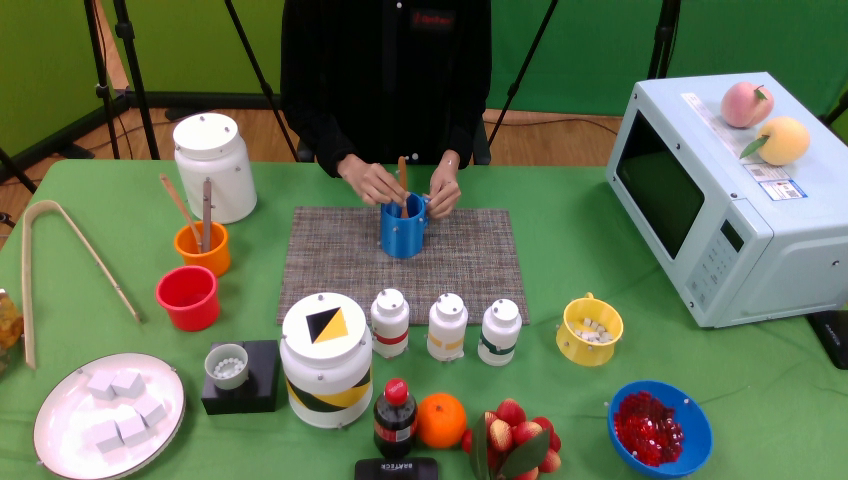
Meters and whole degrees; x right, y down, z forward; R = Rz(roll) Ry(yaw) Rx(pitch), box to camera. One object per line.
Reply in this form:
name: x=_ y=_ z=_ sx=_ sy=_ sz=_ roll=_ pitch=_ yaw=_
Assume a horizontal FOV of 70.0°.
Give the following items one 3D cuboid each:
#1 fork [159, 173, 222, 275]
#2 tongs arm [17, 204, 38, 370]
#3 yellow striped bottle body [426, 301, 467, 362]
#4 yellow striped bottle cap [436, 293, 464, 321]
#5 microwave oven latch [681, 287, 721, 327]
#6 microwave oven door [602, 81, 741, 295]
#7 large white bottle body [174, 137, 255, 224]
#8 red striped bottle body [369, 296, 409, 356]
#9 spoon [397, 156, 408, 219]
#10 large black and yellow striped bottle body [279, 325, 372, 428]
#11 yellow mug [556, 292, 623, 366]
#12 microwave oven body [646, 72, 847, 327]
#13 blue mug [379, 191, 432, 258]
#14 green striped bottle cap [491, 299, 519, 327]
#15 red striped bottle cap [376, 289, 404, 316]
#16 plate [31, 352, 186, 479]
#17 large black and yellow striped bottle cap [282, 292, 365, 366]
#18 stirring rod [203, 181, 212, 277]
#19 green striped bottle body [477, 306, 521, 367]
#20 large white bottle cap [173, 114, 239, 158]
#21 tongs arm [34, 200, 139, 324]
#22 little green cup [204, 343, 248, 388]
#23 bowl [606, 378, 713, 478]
fork: x=-0.427 y=-0.029 z=1.103 sx=0.028 sy=0.018 sz=0.207 roll=-31 pitch=99 yaw=-30
tongs arm: x=-0.698 y=0.069 z=1.068 sx=0.028 sy=0.028 sz=0.385 roll=-20 pitch=50 yaw=-13
yellow striped bottle body: x=0.037 y=0.142 z=0.996 sx=0.063 sy=0.121 sz=0.062 roll=3 pitch=46 yaw=-2
yellow striped bottle cap: x=0.041 y=0.106 z=0.959 sx=0.044 sy=0.019 sz=0.044 roll=-1 pitch=49 yaw=1
microwave oven latch: x=0.494 y=0.119 z=1.087 sx=0.030 sy=0.029 sz=0.078 roll=-6 pitch=46 yaw=-9
microwave oven door: x=0.456 y=-0.107 z=1.162 sx=0.039 sy=0.245 sz=0.353 roll=-7 pitch=47 yaw=-11
large white bottle body: x=-0.408 y=-0.136 z=1.183 sx=0.131 sy=0.185 sz=0.130 roll=2 pitch=46 yaw=-2
red striped bottle body: x=-0.058 y=0.134 z=0.997 sx=0.063 sy=0.120 sz=0.062 roll=4 pitch=47 yaw=-4
spoon: x=-0.040 y=-0.070 z=1.108 sx=0.041 sy=0.194 sz=0.021 roll=5 pitch=35 yaw=10
large black and yellow striped bottle body: x=-0.143 y=0.181 z=0.900 sx=0.131 sy=0.185 sz=0.130 roll=2 pitch=46 yaw=-2
yellow mug: x=0.285 y=0.145 z=1.051 sx=0.100 sy=0.064 sz=0.130 roll=7 pitch=45 yaw=3
microwave oven body: x=0.607 y=-0.089 z=1.164 sx=0.326 sy=0.261 sz=0.438 roll=-7 pitch=46 yaw=-10
blue mug: x=-0.032 y=-0.036 z=1.168 sx=0.116 sy=0.106 sz=0.082 roll=-29 pitch=55 yaw=-28
green striped bottle cap: x=0.128 y=0.115 z=0.958 sx=0.044 sy=0.020 sz=0.044 roll=1 pitch=47 yaw=-1
red striped bottle cap: x=-0.055 y=0.098 z=0.958 sx=0.044 sy=0.018 sz=0.044 roll=0 pitch=48 yaw=0
plate: x=-0.459 y=0.262 z=0.898 sx=0.209 sy=0.038 sz=0.208 roll=2 pitch=45 yaw=-2
large black and yellow striped bottle cap: x=-0.138 y=0.121 z=0.841 sx=0.115 sy=0.019 sz=0.114 roll=3 pitch=47 yaw=-3
stirring rod: x=-0.396 y=-0.021 z=1.108 sx=0.014 sy=0.006 sz=0.176 roll=-1 pitch=89 yaw=-1
green striped bottle body: x=0.124 y=0.151 z=0.995 sx=0.063 sy=0.120 sz=0.063 roll=2 pitch=46 yaw=-2
large white bottle cap: x=-0.403 y=-0.195 z=1.122 sx=0.115 sy=0.018 sz=0.114 roll=2 pitch=47 yaw=-2
tongs arm: x=-0.622 y=0.034 z=1.105 sx=0.051 sy=0.026 sz=0.382 roll=-32 pitch=55 yaw=-26
little green cup: x=-0.294 y=0.190 z=0.909 sx=0.061 sy=0.039 sz=0.061 roll=1 pitch=48 yaw=0
bowl: x=0.340 y=0.292 z=0.906 sx=0.151 sy=0.077 sz=0.150 roll=2 pitch=46 yaw=-2
